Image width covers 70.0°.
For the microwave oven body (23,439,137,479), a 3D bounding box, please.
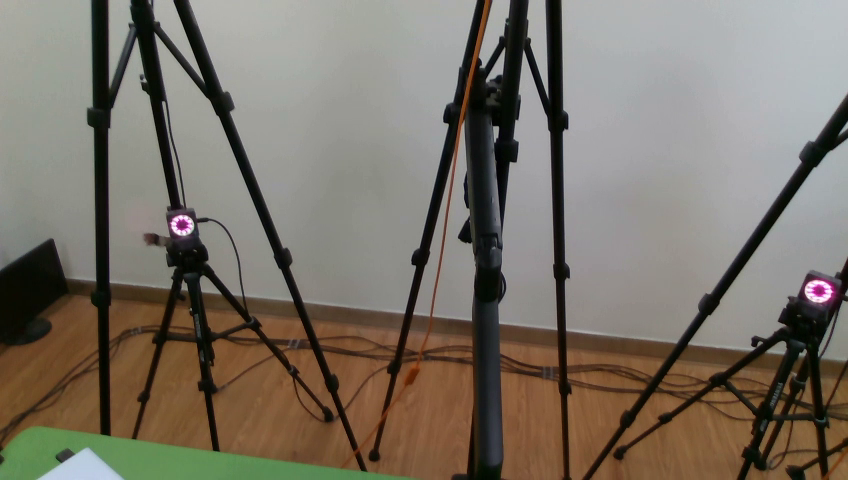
[{"bbox_3d":[-0.460,0.496,0.649,0.323,0.262,0.441,22,37,28],"label":"microwave oven body"}]
